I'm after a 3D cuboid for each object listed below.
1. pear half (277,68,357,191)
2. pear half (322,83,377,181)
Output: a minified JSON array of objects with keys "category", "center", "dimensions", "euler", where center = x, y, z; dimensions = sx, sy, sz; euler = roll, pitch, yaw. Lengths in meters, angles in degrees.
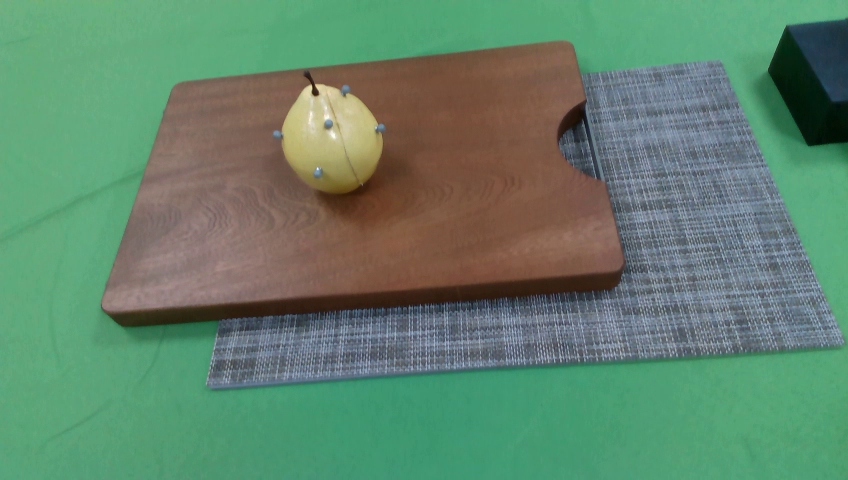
[{"category":"pear half","center":[-0.090,-0.087,0.473],"dimensions":[0.056,0.111,0.075],"euler":[-19,51,-4]},{"category":"pear half","center":[-0.055,-0.090,0.483],"dimensions":[0.031,0.089,0.069],"euler":[-17,52,-5]}]
